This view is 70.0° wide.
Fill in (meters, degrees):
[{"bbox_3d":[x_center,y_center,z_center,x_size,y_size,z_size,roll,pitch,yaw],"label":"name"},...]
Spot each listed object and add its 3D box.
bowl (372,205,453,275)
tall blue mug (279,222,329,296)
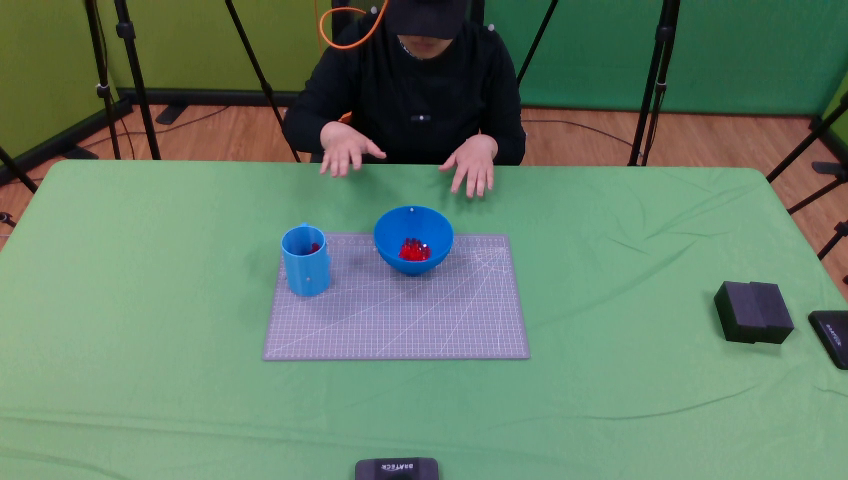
[{"bbox_3d":[-0.022,0.013,1.143,0.151,0.077,0.150,2,46,-2],"label":"bowl"},{"bbox_3d":[-0.221,0.029,1.090,0.078,0.108,0.106,-26,53,-25],"label":"tall blue mug"}]
